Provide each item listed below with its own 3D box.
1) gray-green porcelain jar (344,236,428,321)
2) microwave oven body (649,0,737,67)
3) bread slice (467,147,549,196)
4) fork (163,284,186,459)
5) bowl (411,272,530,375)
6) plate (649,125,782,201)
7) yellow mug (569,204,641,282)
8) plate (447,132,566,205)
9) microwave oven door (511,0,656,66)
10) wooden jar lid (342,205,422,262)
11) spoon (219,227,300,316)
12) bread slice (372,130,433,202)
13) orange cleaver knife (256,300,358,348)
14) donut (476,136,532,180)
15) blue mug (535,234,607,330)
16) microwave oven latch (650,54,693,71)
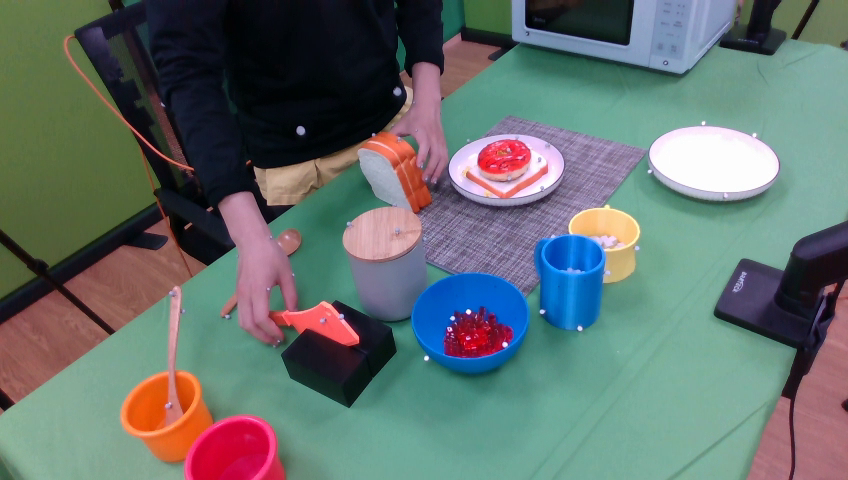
[{"bbox_3d":[-0.049,0.042,0.849,0.106,0.127,0.105,-4,41,4],"label":"gray-green porcelain jar"},{"bbox_3d":[0.475,-0.602,1.411,0.438,0.261,0.327,23,50,32],"label":"microwave oven body"},{"bbox_3d":[0.156,-0.128,1.085,0.132,0.019,0.104,-34,48,-23],"label":"bread slice"},{"bbox_3d":[-0.302,0.157,0.733,0.028,0.019,0.207,-3,84,15],"label":"fork"},{"bbox_3d":[0.061,0.120,0.780,0.151,0.077,0.150,-4,40,4],"label":"bowl"},{"bbox_3d":[0.493,-0.127,1.036,0.207,0.039,0.206,-4,41,4],"label":"plate"},{"bbox_3d":[0.268,-0.005,0.904,0.099,0.064,0.130,7,41,15],"label":"yellow mug"},{"bbox_3d":[0.146,-0.124,1.076,0.209,0.038,0.208,-4,41,4],"label":"plate"},{"bbox_3d":[0.351,-0.539,1.348,0.353,0.245,0.039,24,50,31],"label":"microwave oven door"},{"bbox_3d":[-0.055,-0.006,0.808,0.108,0.021,0.108,-6,40,6],"label":"wooden jar lid"},{"bbox_3d":[-0.260,0.046,0.954,0.041,0.021,0.194,27,49,10],"label":"spoon"},{"bbox_3d":[-0.040,-0.128,1.040,0.106,0.135,0.018,28,62,33],"label":"bread slice"},{"bbox_3d":[-0.161,0.116,0.813,0.210,0.077,0.012,-9,27,48],"label":"orange cleaver knife"},{"bbox_3d":[0.140,-0.145,1.058,0.099,0.048,0.098,-7,41,6],"label":"donut"},{"bbox_3d":[0.191,0.048,0.824,0.082,0.106,0.115,-26,44,-20],"label":"blue mug"},{"bbox_3d":[0.531,-0.386,1.301,0.078,0.029,0.030,26,51,33],"label":"microwave oven latch"}]
